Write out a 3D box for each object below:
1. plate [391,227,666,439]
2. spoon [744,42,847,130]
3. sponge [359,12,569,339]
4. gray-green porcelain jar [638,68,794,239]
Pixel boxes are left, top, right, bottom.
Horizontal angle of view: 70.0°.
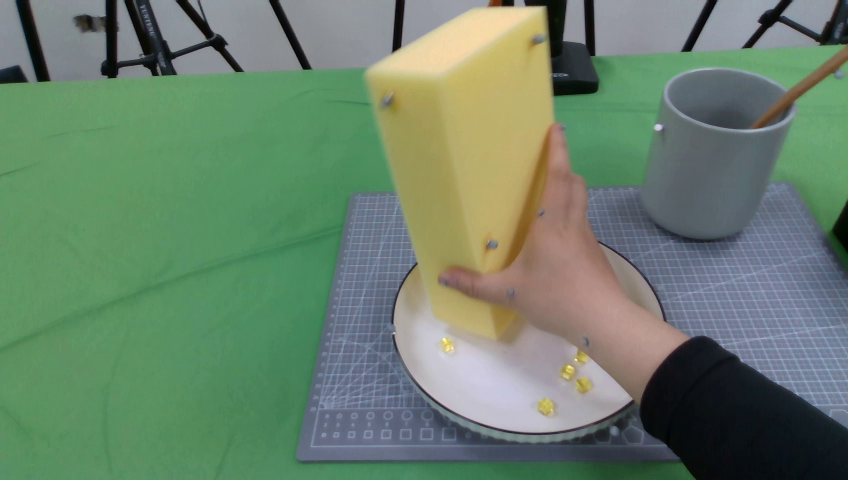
[{"bbox_3d":[0.079,0.066,0.478,0.207,0.039,0.205,-2,43,3],"label":"plate"},{"bbox_3d":[0.280,-0.093,0.510,0.022,0.194,0.041,30,42,-4],"label":"spoon"},{"bbox_3d":[0.041,-0.044,0.443,0.060,0.209,0.118,15,47,37],"label":"sponge"},{"bbox_3d":[0.254,-0.072,0.545,0.106,0.128,0.105,-3,43,3],"label":"gray-green porcelain jar"}]
